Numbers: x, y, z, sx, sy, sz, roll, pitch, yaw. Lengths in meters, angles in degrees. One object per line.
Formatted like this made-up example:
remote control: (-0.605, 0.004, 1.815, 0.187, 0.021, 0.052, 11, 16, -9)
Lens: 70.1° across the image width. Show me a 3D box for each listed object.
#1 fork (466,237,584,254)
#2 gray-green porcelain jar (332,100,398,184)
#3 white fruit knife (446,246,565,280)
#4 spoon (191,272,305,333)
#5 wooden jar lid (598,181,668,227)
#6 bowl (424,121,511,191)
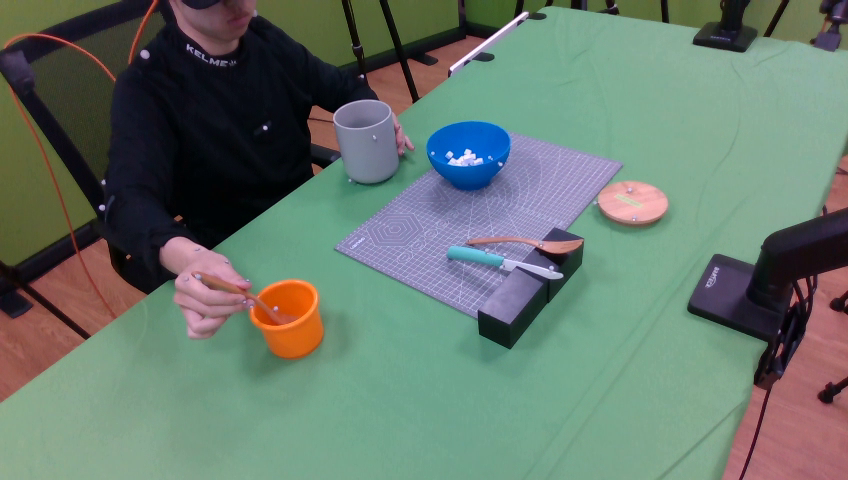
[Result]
fork: (0.142, 0.005, 0.894, 0.205, 0.019, 0.028, 4, 43, 41)
gray-green porcelain jar: (-0.105, -0.174, 1.108, 0.106, 0.127, 0.105, -4, 40, 4)
white fruit knife: (0.111, 0.033, 0.868, 0.205, 0.027, 0.016, 11, 44, 40)
spoon: (-0.218, 0.079, 0.767, 0.021, 0.195, 0.041, -47, 49, -3)
wooden jar lid: (0.340, -0.058, 0.988, 0.108, 0.021, 0.108, -5, 41, 5)
bowl: (0.080, -0.141, 1.074, 0.151, 0.077, 0.150, -4, 40, 4)
